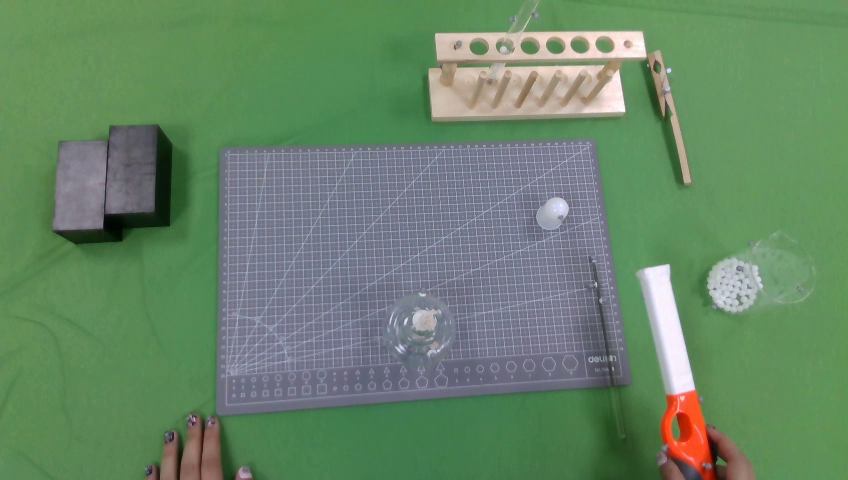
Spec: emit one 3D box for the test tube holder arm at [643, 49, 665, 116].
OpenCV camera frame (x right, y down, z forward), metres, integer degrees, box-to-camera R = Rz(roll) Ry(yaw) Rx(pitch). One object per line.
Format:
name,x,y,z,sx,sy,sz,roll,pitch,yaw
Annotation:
test tube holder arm,0.297,-0.202,0.775,0.010,0.015,0.087,-17,76,26

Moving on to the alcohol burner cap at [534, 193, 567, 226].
alcohol burner cap,0.149,-0.037,0.702,0.034,0.048,0.033,1,76,-5

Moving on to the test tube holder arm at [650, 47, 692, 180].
test tube holder arm,0.310,-0.160,0.763,0.013,0.015,0.177,-18,76,26

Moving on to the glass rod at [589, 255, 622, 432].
glass rod,0.204,0.114,0.686,0.008,0.008,0.198,-3,76,-7

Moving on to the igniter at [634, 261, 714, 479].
igniter,0.254,0.159,0.607,0.057,0.025,0.275,-7,84,-20

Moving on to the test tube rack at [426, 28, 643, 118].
test tube rack,0.128,-0.198,0.720,0.243,0.085,0.066,-3,76,-6

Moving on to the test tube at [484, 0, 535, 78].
test tube,0.093,-0.225,0.673,0.017,0.150,0.017,3,72,-11

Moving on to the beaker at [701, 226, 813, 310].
beaker,0.367,0.035,0.679,0.074,0.100,0.083,11,74,-3

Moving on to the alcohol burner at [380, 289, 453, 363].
alcohol burner,-0.006,0.085,0.618,0.078,0.119,0.077,1,73,-4
